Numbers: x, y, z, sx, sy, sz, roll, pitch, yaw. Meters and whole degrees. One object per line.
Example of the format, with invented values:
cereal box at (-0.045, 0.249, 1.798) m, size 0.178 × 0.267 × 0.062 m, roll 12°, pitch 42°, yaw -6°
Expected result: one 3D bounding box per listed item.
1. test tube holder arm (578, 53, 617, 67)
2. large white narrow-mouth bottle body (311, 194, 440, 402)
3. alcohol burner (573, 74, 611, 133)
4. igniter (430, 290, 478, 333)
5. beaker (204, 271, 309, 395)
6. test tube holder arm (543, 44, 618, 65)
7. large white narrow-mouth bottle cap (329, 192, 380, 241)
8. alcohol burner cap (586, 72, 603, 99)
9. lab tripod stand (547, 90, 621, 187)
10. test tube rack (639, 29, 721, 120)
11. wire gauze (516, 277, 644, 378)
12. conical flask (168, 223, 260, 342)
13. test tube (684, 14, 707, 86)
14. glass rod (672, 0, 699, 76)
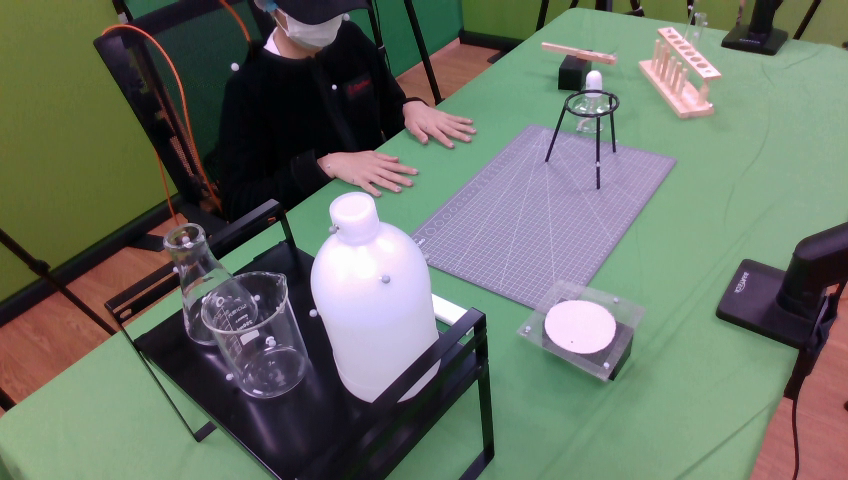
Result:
test tube holder arm at (0.375, -0.393, 1.314) m, size 0.087 × 0.015 × 0.010 m, roll 25°, pitch 51°, yaw 32°
large white narrow-mouth bottle body at (-0.043, 0.046, 0.522) m, size 0.102 × 0.195 × 0.101 m, roll -5°, pitch 40°, yaw 5°
alcohol burner at (0.330, -0.270, 1.177) m, size 0.078 × 0.119 × 0.077 m, roll -4°, pitch 43°, yaw 4°
igniter at (-0.038, 0.068, 0.905) m, size 0.274 × 0.025 × 0.057 m, roll 24°, pitch 60°, yaw 32°
beaker at (-0.149, 0.088, 0.565) m, size 0.073 × 0.101 × 0.084 m, roll 21°, pitch 47°, yaw 29°
test tube holder arm at (0.344, -0.412, 1.341) m, size 0.177 × 0.015 × 0.013 m, roll 25°, pitch 51°, yaw 31°
large white narrow-mouth bottle cap at (-0.053, -0.019, 0.466) m, size 0.038 × 0.024 × 0.037 m, roll -5°, pitch 40°, yaw 4°
alcohol burner cap at (0.325, -0.297, 1.154) m, size 0.034 × 0.048 × 0.033 m, roll -8°, pitch 35°, yaw 6°
lab tripod stand at (0.288, -0.184, 1.063) m, size 0.148 × 0.132 × 0.147 m, roll -6°, pitch 41°, yaw 6°
test tube rack at (0.527, -0.351, 1.262) m, size 0.067 × 0.085 × 0.241 m, roll -8°, pitch 40°, yaw 1°
wire gauze at (0.197, 0.103, 0.765) m, size 0.124 × 0.011 × 0.122 m, roll 23°, pitch 50°, yaw 32°
conical flask at (-0.219, 0.040, 0.614) m, size 0.075 × 0.122 × 0.075 m, roll -5°, pitch 40°, yaw 4°
test tube at (0.541, -0.379, 1.216) m, size 0.017 × 0.151 × 0.017 m, roll -2°, pitch 44°, yaw 2°
glass rod at (0.541, -0.427, 1.246) m, size 0.008 × 0.200 × 0.008 m, roll 0°, pitch 48°, yaw 1°
